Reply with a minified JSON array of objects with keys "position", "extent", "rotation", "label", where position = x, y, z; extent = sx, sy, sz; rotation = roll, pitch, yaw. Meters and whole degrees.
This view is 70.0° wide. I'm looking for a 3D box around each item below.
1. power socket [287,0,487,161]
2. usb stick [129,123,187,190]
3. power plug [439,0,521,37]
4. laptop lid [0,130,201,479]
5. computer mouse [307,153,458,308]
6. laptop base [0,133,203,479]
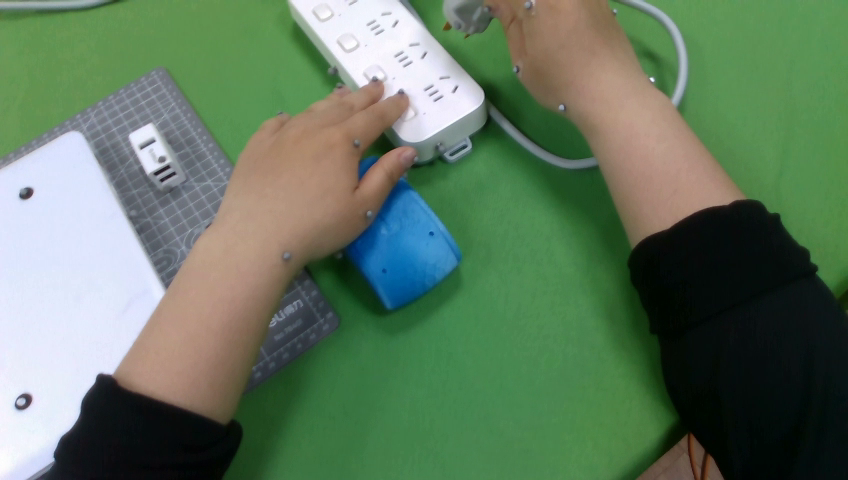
[{"position":[-0.035,-0.149,0.476],"extent":[0.072,0.033,0.224],"rotation":[-33,63,-8],"label":"power socket"},{"position":[-0.204,-0.068,0.458],"extent":[0.021,0.027,0.058],"rotation":[-33,61,-8],"label":"usb stick"},{"position":[0.046,-0.161,0.430],"extent":[0.073,0.052,0.035],"rotation":[9,73,-17],"label":"power plug"},{"position":[-0.343,0.090,0.390],"extent":[0.357,0.013,0.239],"rotation":[-33,65,-9],"label":"laptop lid"},{"position":[-0.031,-0.012,0.403],"extent":[0.063,0.041,0.116],"rotation":[-33,60,-8],"label":"computer mouse"},{"position":[-0.343,0.094,0.401],"extent":[0.354,0.023,0.233],"rotation":[-35,67,-10],"label":"laptop base"}]
